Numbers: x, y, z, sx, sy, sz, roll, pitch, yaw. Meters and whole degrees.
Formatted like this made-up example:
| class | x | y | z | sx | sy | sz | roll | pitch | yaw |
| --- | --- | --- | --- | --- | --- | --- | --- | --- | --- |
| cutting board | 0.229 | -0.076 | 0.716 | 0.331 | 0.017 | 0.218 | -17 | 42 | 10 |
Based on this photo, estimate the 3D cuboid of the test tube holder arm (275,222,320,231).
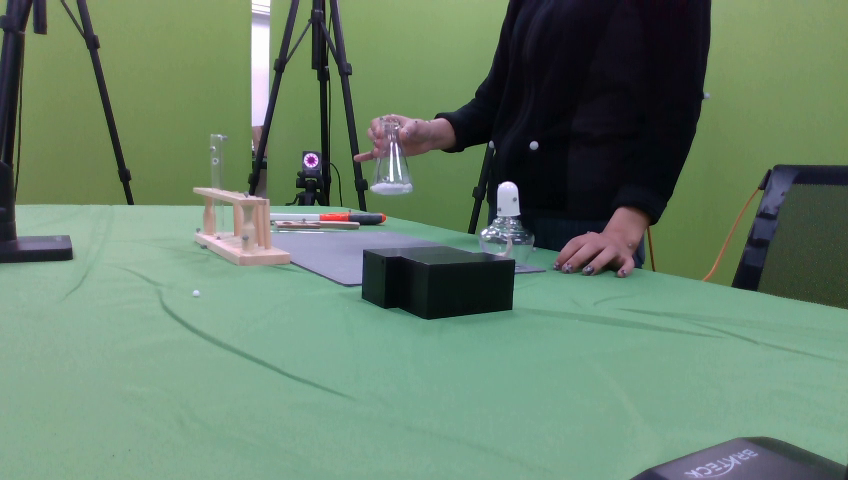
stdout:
| class | x | y | z | sx | sy | sz | roll | pitch | yaw |
| --- | --- | --- | --- | --- | --- | --- | --- | --- | --- |
| test tube holder arm | -0.238 | -0.026 | 1.145 | 0.088 | 0.015 | 0.010 | -3 | 46 | -39 |

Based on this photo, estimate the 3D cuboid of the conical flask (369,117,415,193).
| class | x | y | z | sx | sy | sz | roll | pitch | yaw |
| --- | --- | --- | --- | --- | --- | --- | --- | --- | --- |
| conical flask | -0.054 | -0.141 | 1.004 | 0.075 | 0.121 | 0.075 | -1 | -3 | 0 |

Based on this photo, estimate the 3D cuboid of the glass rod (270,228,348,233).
| class | x | y | z | sx | sy | sz | roll | pitch | yaw |
| --- | --- | --- | --- | --- | --- | --- | --- | --- | --- |
| glass rod | -0.235 | -0.017 | 1.105 | 0.201 | 0.008 | 0.008 | 1 | 7 | -26 |

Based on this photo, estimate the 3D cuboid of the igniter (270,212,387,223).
| class | x | y | z | sx | sy | sz | roll | pitch | yaw |
| --- | --- | --- | --- | --- | --- | --- | --- | --- | --- |
| igniter | -0.213 | -0.048 | 1.278 | 0.278 | 0.025 | 0.057 | -1 | -2 | -25 |

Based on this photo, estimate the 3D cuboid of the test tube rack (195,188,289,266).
| class | x | y | z | sx | sy | sz | roll | pitch | yaw |
| --- | --- | --- | --- | --- | --- | --- | --- | --- | --- |
| test tube rack | -0.266 | -0.025 | 0.864 | 0.067 | 0.085 | 0.241 | -2 | 8 | -33 |

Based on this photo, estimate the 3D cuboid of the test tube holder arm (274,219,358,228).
| class | x | y | z | sx | sy | sz | roll | pitch | yaw |
| --- | --- | --- | --- | --- | --- | --- | --- | --- | --- |
| test tube holder arm | -0.206 | -0.032 | 1.177 | 0.179 | 0.015 | 0.013 | -4 | 46 | -40 |

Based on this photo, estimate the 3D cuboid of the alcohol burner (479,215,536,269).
| class | x | y | z | sx | sy | sz | roll | pitch | yaw |
| --- | --- | --- | --- | --- | --- | --- | --- | --- | --- |
| alcohol burner | 0.114 | -0.021 | 0.816 | 0.078 | 0.119 | 0.078 | 2 | 9 | 0 |

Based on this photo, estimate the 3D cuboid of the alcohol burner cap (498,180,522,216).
| class | x | y | z | sx | sy | sz | roll | pitch | yaw |
| --- | --- | --- | --- | --- | --- | --- | --- | --- | --- |
| alcohol burner cap | 0.114 | -0.056 | 0.809 | 0.034 | 0.048 | 0.034 | -5 | 12 | 1 |

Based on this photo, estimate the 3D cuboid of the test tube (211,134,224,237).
| class | x | y | z | sx | sy | sz | roll | pitch | yaw |
| --- | --- | --- | --- | --- | --- | --- | --- | --- | --- |
| test tube | -0.300 | -0.078 | 0.881 | 0.017 | 0.150 | 0.017 | 3 | 11 | 0 |
